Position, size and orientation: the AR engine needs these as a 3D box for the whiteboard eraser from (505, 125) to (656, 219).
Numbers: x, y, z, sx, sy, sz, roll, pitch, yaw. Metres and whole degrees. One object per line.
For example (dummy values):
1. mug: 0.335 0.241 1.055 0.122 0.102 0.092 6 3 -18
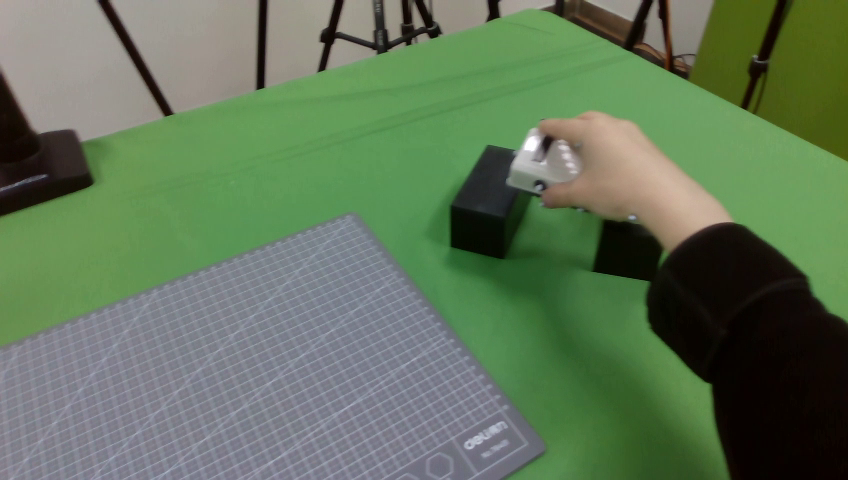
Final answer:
1. whiteboard eraser: 0.127 -0.055 0.497 0.112 0.042 0.055 17 54 15
